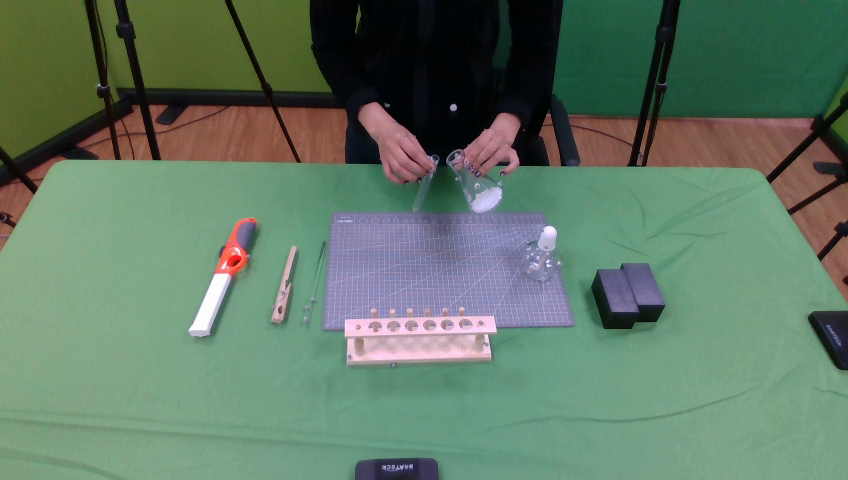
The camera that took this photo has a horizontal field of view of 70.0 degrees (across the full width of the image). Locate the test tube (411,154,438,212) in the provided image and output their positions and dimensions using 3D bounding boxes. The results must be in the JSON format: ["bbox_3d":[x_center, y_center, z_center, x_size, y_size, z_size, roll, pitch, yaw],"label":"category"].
[{"bbox_3d":[0.000,-0.106,1.158,0.017,0.151,0.017,10,49,-12],"label":"test tube"}]

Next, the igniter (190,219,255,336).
[{"bbox_3d":[-0.365,0.058,1.110,0.057,0.025,0.275,-1,45,8],"label":"igniter"}]

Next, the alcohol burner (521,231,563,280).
[{"bbox_3d":[0.224,0.020,1.131,0.078,0.119,0.077,4,46,-4],"label":"alcohol burner"}]

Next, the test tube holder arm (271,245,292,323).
[{"bbox_3d":[-0.259,0.076,1.106,0.013,0.015,0.177,28,38,-28],"label":"test tube holder arm"}]

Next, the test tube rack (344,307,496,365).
[{"bbox_3d":[-0.009,0.154,1.007,0.242,0.085,0.066,-1,46,-5],"label":"test tube rack"}]

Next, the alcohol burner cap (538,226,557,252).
[{"bbox_3d":[0.226,-0.004,1.104,0.034,0.048,0.033,-1,50,1],"label":"alcohol burner cap"}]

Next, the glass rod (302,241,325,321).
[{"bbox_3d":[-0.204,0.071,1.124,0.008,0.008,0.198,4,44,0],"label":"glass rod"}]

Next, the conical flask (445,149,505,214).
[{"bbox_3d":[0.088,-0.111,1.113,0.075,0.122,0.075,-31,29,20],"label":"conical flask"}]

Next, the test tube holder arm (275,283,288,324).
[{"bbox_3d":[-0.254,0.110,1.077,0.010,0.015,0.087,29,38,-27],"label":"test tube holder arm"}]
